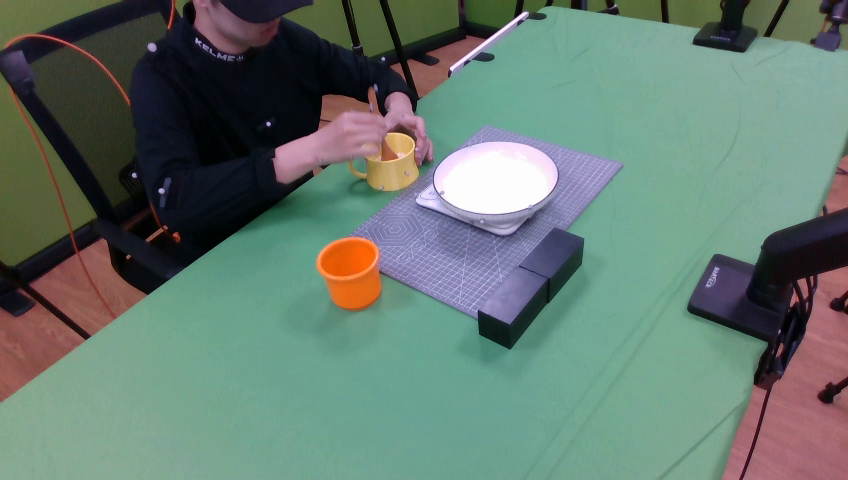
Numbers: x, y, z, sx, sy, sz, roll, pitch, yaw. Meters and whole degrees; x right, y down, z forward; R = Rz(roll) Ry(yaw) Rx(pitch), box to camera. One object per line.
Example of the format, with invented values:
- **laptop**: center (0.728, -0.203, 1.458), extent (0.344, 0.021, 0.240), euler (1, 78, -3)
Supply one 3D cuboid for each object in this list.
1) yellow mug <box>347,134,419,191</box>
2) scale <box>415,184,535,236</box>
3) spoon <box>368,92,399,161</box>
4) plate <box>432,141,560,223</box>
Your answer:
- **yellow mug**: center (-0.078, -0.142, 1.115), extent (0.131, 0.064, 0.099), euler (-6, 38, 3)
- **scale**: center (0.099, -0.080, 1.035), extent (0.199, 0.032, 0.149), euler (23, 48, 31)
- **spoon**: center (-0.074, -0.182, 1.057), extent (0.042, 0.195, 0.021), euler (-25, 51, -7)
- **plate**: center (0.118, -0.094, 0.999), extent (0.209, 0.038, 0.208), euler (-4, 41, 4)
